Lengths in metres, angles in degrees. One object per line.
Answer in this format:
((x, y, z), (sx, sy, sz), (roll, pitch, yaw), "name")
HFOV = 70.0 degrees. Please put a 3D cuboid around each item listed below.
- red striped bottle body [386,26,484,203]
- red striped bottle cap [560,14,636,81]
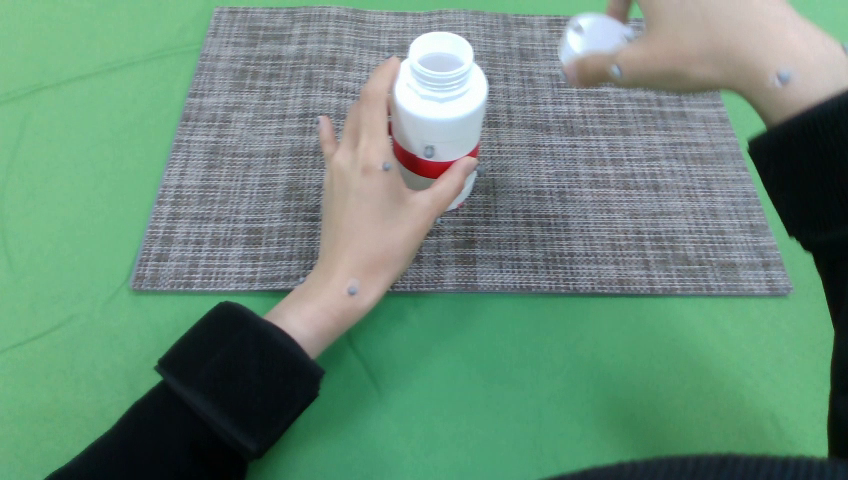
((0.006, -0.084, 0.410), (0.063, 0.120, 0.062), (1, 58, -1), "red striped bottle body")
((0.108, -0.120, 0.374), (0.044, 0.018, 0.044), (4, 56, -5), "red striped bottle cap")
